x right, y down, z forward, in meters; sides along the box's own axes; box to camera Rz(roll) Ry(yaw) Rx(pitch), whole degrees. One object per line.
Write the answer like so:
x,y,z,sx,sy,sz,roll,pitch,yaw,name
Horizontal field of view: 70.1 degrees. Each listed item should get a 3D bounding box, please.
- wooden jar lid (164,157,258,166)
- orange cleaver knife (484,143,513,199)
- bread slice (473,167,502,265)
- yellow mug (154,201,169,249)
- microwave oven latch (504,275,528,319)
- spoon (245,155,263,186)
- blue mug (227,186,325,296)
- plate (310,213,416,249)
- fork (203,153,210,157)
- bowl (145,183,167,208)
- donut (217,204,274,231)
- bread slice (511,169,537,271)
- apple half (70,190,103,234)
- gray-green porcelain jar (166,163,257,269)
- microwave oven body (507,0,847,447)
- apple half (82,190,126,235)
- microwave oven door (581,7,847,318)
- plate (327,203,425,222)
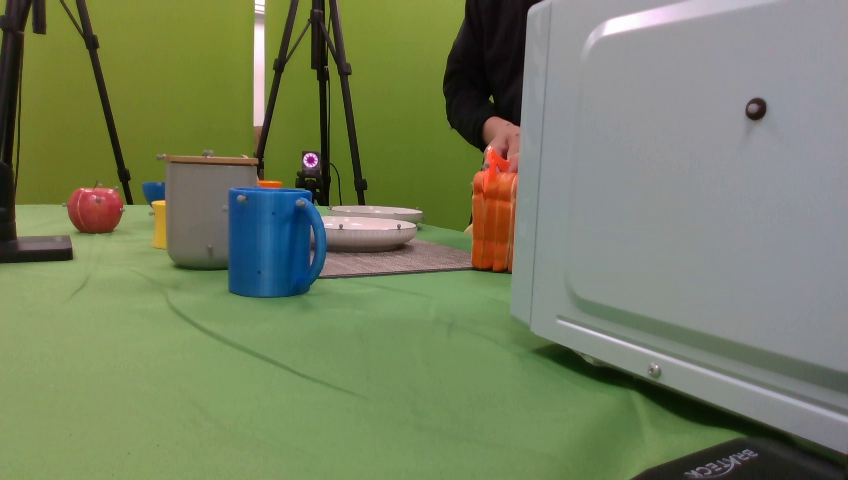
-0.261,-0.093,0.746,0.108,0.020,0.108,0,9,0,wooden jar lid
0.118,-0.099,0.887,0.012,0.077,0.212,1,6,21,orange cleaver knife
0.088,-0.036,0.841,0.019,0.131,0.105,0,4,20,bread slice
-0.338,-0.022,0.899,0.130,0.064,0.100,8,9,35,yellow mug
0.100,0.042,0.470,0.079,0.029,0.030,-1,7,-28,microwave oven latch
-0.421,-0.150,1.540,0.042,0.021,0.193,-5,55,-37,spoon
-0.146,0.000,0.618,0.116,0.106,0.083,7,9,32,blue mug
-0.116,-0.014,0.967,0.208,0.039,0.207,2,7,0,plate
-0.480,-0.136,1.412,0.028,0.018,0.207,0,-34,-1,fork
-0.459,-0.068,1.175,0.151,0.077,0.151,3,7,0,bowl
-0.317,-0.038,1.080,0.099,0.048,0.099,3,7,0,donut
0.137,-0.030,0.823,0.018,0.134,0.107,3,10,19,bread slice
-0.552,-0.047,1.009,0.053,0.074,0.081,-1,9,26,apple half
-0.263,-0.031,0.754,0.106,0.126,0.106,2,7,0,gray-green porcelain jar
0.331,-0.042,0.425,0.444,0.260,0.324,-2,8,-31,microwave oven body
-0.516,-0.046,0.994,0.032,0.081,0.081,0,6,26,apple half
0.295,-0.067,0.569,0.358,0.243,0.039,-3,8,-31,microwave oven door
-0.102,-0.053,1.299,0.209,0.038,0.209,2,8,0,plate
